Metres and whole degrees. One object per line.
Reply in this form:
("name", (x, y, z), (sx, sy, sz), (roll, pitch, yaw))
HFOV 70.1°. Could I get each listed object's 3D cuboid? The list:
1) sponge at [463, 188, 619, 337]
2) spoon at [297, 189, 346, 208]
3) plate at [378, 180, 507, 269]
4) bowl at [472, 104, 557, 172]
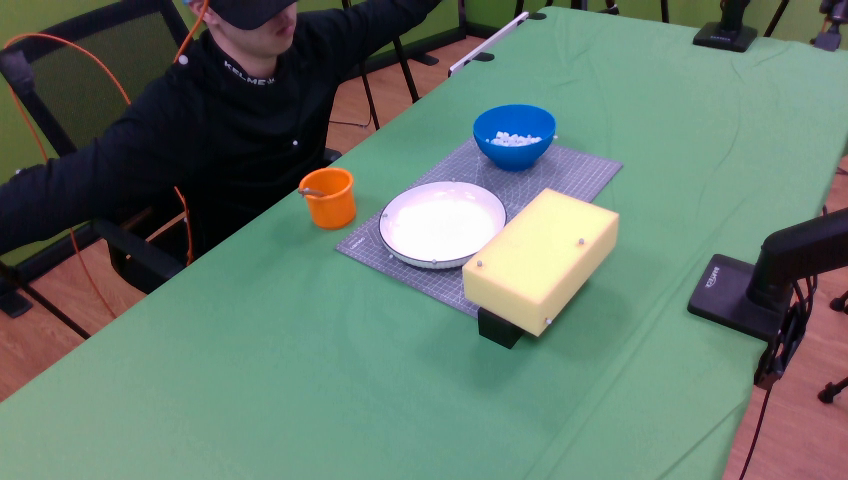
("sponge", (0.160, 0.022, 0.814), (0.117, 0.061, 0.207), (25, 50, 32))
("spoon", (-0.169, -0.069, 0.979), (0.041, 0.194, 0.021), (0, 85, 10))
("plate", (0.031, -0.022, 0.974), (0.209, 0.038, 0.208), (-4, 40, 4))
("bowl", (0.165, -0.178, 1.105), (0.151, 0.077, 0.150), (-4, 40, 4))
